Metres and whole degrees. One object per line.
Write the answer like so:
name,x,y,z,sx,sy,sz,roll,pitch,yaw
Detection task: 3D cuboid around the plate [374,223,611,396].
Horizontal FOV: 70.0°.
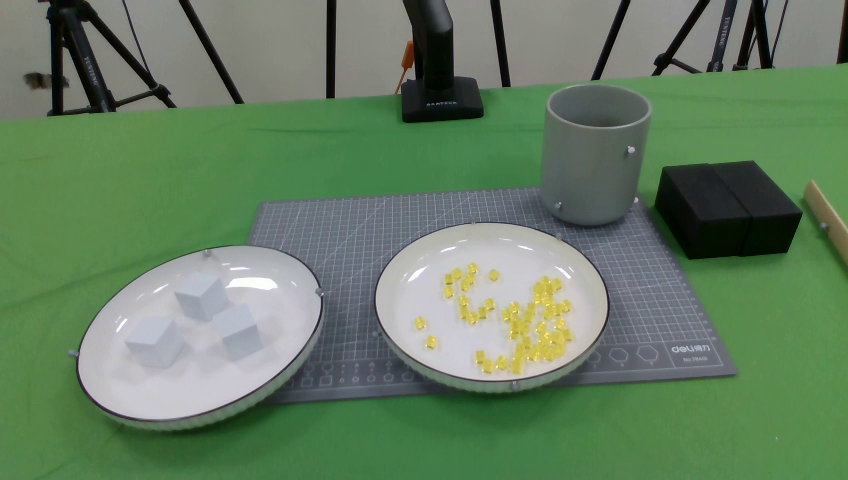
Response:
plate,0.060,0.060,0.548,0.207,0.039,0.205,-2,38,2

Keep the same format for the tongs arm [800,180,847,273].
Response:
tongs arm,0.418,0.061,0.534,0.028,0.028,0.384,2,39,3

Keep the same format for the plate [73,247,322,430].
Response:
plate,-0.192,0.084,0.537,0.209,0.038,0.207,-3,38,3

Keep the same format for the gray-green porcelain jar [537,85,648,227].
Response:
gray-green porcelain jar,0.177,-0.086,0.654,0.106,0.127,0.105,-2,38,2
